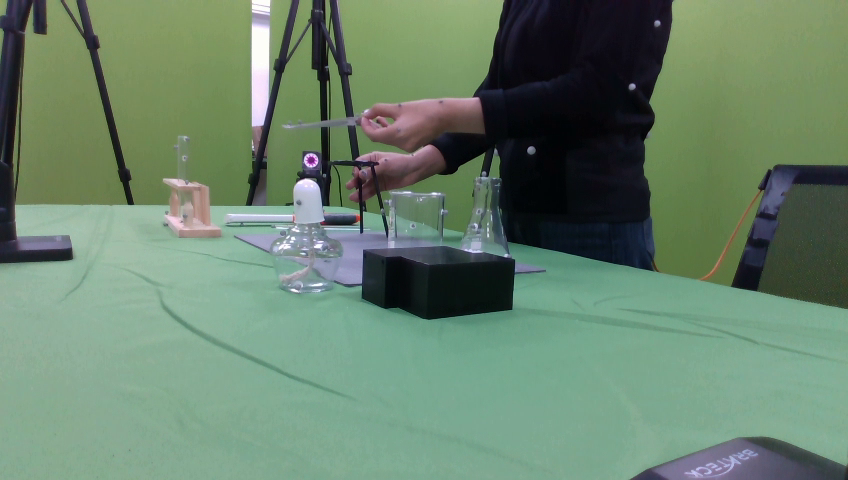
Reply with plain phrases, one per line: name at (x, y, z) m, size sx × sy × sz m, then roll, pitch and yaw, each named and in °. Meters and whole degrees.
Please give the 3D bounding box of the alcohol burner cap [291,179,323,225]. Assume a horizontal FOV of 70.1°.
alcohol burner cap at (-0.124, -0.040, 0.632) m, size 0.034 × 0.048 × 0.034 m, roll -3°, pitch 10°, yaw 1°

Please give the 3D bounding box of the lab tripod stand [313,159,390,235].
lab tripod stand at (-0.118, -0.074, 1.050) m, size 0.148 × 0.131 × 0.148 m, roll 1°, pitch 4°, yaw 0°

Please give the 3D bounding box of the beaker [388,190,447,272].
beaker at (-0.010, -0.013, 0.771) m, size 0.074 × 0.100 × 0.084 m, roll 3°, pitch 7°, yaw 4°

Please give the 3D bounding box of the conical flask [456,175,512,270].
conical flask at (0.082, -0.025, 0.801) m, size 0.075 × 0.122 × 0.075 m, roll 2°, pitch 7°, yaw 0°

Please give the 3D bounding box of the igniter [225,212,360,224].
igniter at (-0.262, -0.044, 1.240) m, size 0.278 × 0.025 × 0.057 m, roll -2°, pitch -1°, yaw -31°

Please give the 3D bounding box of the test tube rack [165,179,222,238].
test tube rack at (-0.423, -0.062, 1.098) m, size 0.067 × 0.085 × 0.241 m, roll -2°, pitch 9°, yaw -28°

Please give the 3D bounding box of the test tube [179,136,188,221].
test tube at (-0.425, -0.108, 1.070) m, size 0.017 × 0.150 × 0.017 m, roll 4°, pitch 9°, yaw 0°

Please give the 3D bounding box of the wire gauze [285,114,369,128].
wire gauze at (-0.158, -0.188, 0.974) m, size 0.122 × 0.011 × 0.124 m, roll -9°, pitch 8°, yaw -17°

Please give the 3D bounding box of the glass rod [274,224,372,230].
glass rod at (-0.193, -0.024, 1.176) m, size 0.201 × 0.008 × 0.008 m, roll 1°, pitch 6°, yaw -31°

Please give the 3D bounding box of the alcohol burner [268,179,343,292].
alcohol burner at (-0.124, -0.005, 0.637) m, size 0.078 × 0.119 × 0.078 m, roll 4°, pitch 8°, yaw 0°
